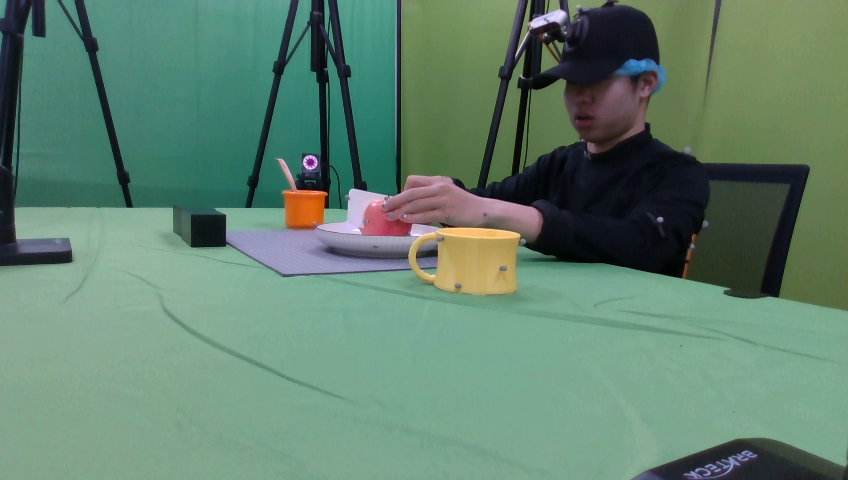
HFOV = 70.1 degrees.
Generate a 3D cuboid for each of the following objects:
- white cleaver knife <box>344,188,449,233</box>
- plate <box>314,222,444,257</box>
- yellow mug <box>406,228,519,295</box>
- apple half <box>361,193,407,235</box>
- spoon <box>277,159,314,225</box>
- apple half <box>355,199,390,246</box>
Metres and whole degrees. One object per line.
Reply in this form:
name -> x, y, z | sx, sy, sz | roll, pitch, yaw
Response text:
white cleaver knife -> -0.041, -0.044, 0.998 | 0.021, 0.066, 0.288 | 1, 0, 34
plate -> -0.067, -0.002, 0.947 | 0.209, 0.038, 0.209 | 3, 7, 0
yellow mug -> 0.044, 0.022, 0.706 | 0.131, 0.064, 0.100 | 2, 7, 5
apple half -> -0.055, -0.029, 0.932 | 0.053, 0.074, 0.081 | 21, 17, 21
spoon -> -0.272, -0.103, 1.260 | 0.042, 0.193, 0.021 | -5, -34, -33
apple half -> -0.087, -0.028, 0.950 | 0.032, 0.081, 0.081 | -1, 4, 33
